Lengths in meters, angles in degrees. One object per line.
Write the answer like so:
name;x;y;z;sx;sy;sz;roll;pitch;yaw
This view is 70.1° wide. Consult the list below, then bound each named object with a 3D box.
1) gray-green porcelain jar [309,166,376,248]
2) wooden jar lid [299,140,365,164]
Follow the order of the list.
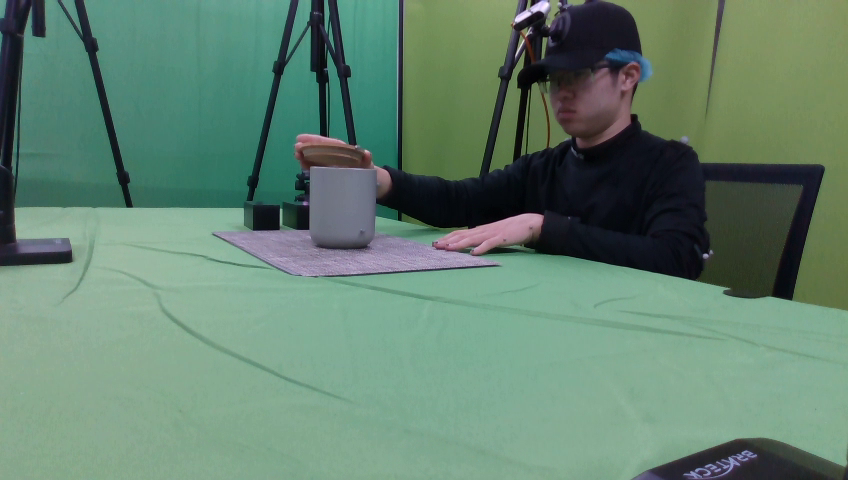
gray-green porcelain jar;-0.131;-0.054;0.966;0.106;0.126;0.106;2;7;0
wooden jar lid;-0.153;-0.145;1.005;0.108;0.020;0.108;5;-3;1
